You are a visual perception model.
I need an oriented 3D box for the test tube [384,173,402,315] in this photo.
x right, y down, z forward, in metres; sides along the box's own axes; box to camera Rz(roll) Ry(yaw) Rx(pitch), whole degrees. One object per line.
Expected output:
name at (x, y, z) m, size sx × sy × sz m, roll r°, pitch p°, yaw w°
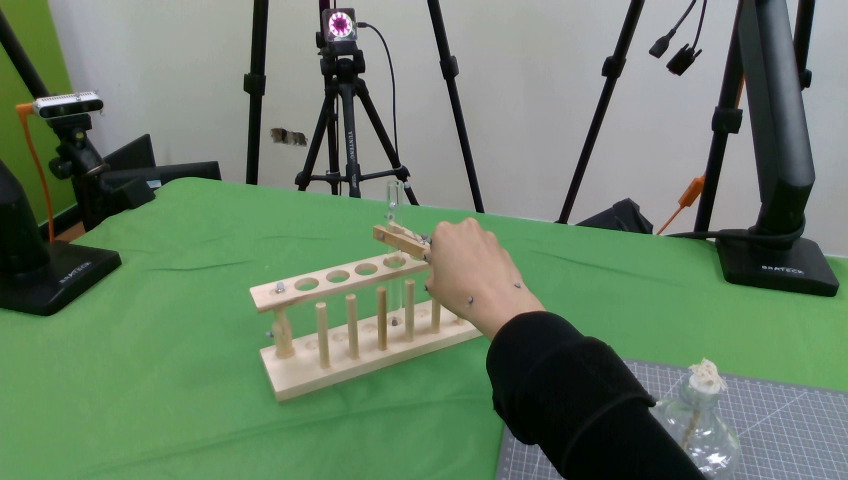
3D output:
test tube at (-0.031, 0.008, 0.589) m, size 0.017 × 0.151 × 0.017 m, roll 2°, pitch 27°, yaw 0°

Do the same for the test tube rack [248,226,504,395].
test tube rack at (-0.038, 0.063, 0.594) m, size 0.243 × 0.086 × 0.066 m, roll -14°, pitch 34°, yaw -22°

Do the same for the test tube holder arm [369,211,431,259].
test tube holder arm at (-0.021, -0.005, 0.560) m, size 0.010 × 0.015 × 0.087 m, roll 9°, pitch 17°, yaw -46°

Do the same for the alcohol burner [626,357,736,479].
alcohol burner at (0.192, 0.130, 0.445) m, size 0.078 × 0.120 × 0.077 m, roll 1°, pitch 32°, yaw 0°

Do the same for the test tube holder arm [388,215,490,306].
test tube holder arm at (0.006, 0.012, 0.530) m, size 0.013 × 0.015 × 0.176 m, roll 12°, pitch 15°, yaw -34°
